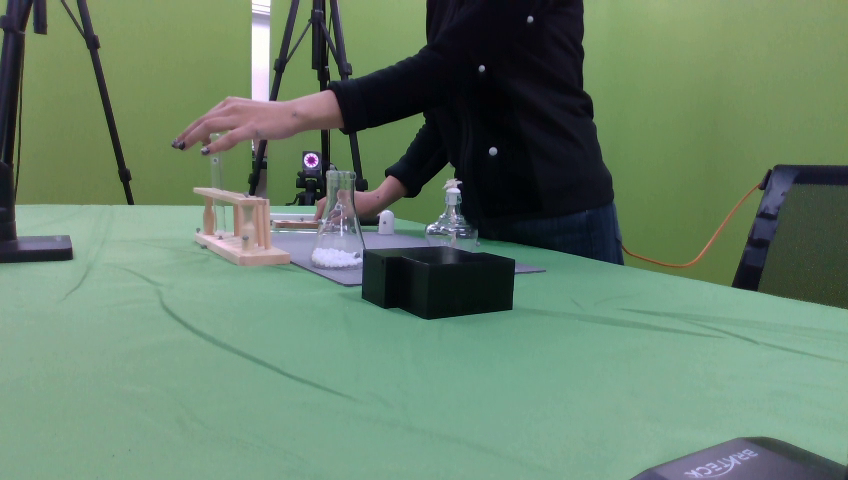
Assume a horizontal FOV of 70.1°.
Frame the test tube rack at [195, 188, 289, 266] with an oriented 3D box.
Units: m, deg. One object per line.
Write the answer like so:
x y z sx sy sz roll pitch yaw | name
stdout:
-0.266 -0.025 0.863 0.067 0.085 0.241 -2 9 -33 | test tube rack

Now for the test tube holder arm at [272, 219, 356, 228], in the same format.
-0.210 -0.032 1.179 0.179 0.015 0.013 -3 34 -41 | test tube holder arm

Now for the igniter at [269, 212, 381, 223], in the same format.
-0.214 -0.048 1.278 0.278 0.025 0.057 -1 -1 -25 | igniter

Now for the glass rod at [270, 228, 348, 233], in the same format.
-0.235 -0.018 1.104 0.201 0.008 0.008 1 7 -26 | glass rod

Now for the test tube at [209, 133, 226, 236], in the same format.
-0.303 -0.080 0.887 0.017 0.150 0.017 -1 8 0 | test tube

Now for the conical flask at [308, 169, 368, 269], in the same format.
-0.107 -0.028 0.762 0.075 0.122 0.075 2 7 0 | conical flask

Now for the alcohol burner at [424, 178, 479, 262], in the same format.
0.040 -0.028 0.853 0.078 0.119 0.078 2 9 0 | alcohol burner

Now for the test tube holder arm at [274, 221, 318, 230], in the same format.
-0.242 -0.028 1.146 0.088 0.015 0.010 -2 33 -39 | test tube holder arm

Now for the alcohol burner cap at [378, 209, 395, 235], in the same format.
-0.071 -0.034 1.144 0.034 0.048 0.034 2 7 0 | alcohol burner cap
